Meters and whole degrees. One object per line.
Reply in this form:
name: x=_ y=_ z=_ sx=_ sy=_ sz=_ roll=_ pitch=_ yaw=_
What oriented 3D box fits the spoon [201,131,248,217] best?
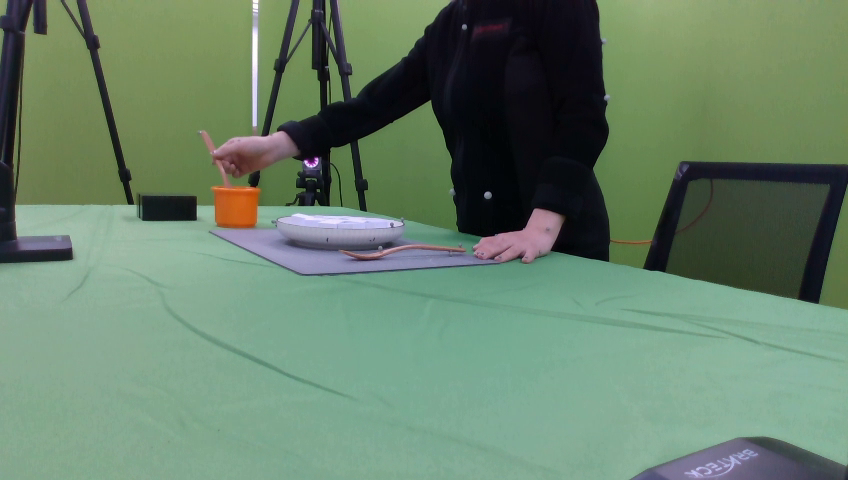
spoon: x=-0.392 y=-0.130 z=1.181 sx=0.042 sy=0.193 sz=0.021 roll=-19 pitch=-7 yaw=-38

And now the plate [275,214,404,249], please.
plate: x=-0.135 y=-0.013 z=0.982 sx=0.208 sy=0.039 sz=0.207 roll=3 pitch=7 yaw=0

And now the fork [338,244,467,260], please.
fork: x=-0.024 y=0.016 z=0.865 sx=0.208 sy=0.018 sz=0.028 roll=-4 pitch=4 yaw=-31
